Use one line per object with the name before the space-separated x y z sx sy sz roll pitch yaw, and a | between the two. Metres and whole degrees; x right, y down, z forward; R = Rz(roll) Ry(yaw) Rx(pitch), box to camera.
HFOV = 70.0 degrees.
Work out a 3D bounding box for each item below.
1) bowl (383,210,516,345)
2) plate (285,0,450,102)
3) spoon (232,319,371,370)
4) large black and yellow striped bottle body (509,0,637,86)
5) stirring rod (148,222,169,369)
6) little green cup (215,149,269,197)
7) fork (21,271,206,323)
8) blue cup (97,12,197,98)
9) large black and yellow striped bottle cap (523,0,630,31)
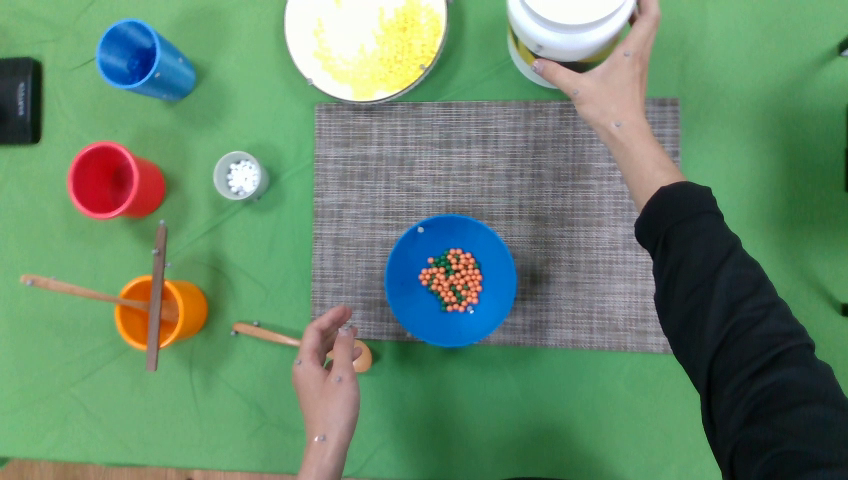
bowl | 0.033 0.044 0.712 0.151 0.077 0.151 0 89 8
plate | -0.069 -0.274 0.760 0.209 0.038 0.209 0 89 8
spoon | -0.157 0.126 0.768 0.193 0.021 0.042 12 104 8
large black and yellow striped bottle body | 0.157 -0.254 0.654 0.130 0.184 0.130 0 88 8
stirring rod | -0.319 0.066 0.727 0.014 0.006 0.176 3 89 6
little green cup | -0.231 -0.083 0.777 0.061 0.039 0.061 0 89 9
fork | -0.370 0.069 0.736 0.209 0.018 0.028 20 94 -35
blue cup | -0.339 -0.223 0.764 0.092 0.100 0.092 0 88 10
large black and yellow striped bottle cap | 0.145 -0.257 0.571 0.115 0.019 0.115 0 88 9
